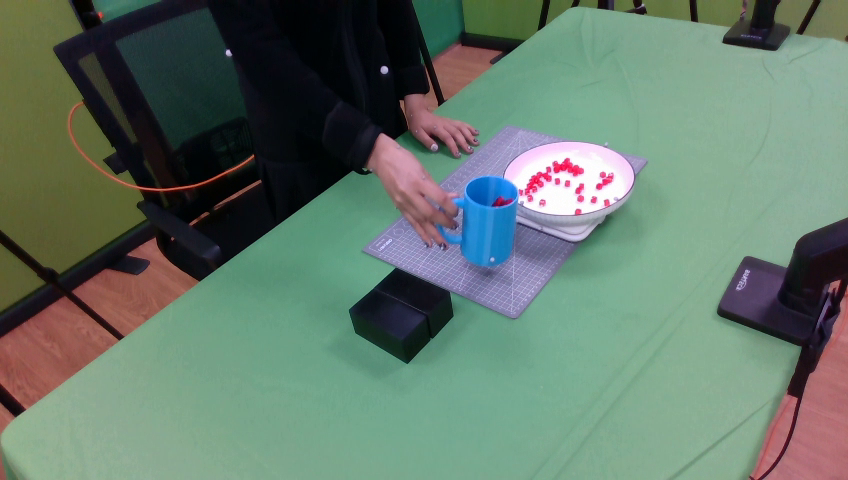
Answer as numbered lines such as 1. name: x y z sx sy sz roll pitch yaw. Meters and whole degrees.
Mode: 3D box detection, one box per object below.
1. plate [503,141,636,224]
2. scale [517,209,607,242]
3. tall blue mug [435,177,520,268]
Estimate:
1. plate: 0.233 -0.091 0.983 0.209 0.038 0.208 -5 41 5
2. scale: 0.211 -0.070 1.014 0.199 0.032 0.149 23 49 33
3. tall blue mug: 0.078 -0.020 0.853 0.108 0.108 0.077 -19 46 -21
